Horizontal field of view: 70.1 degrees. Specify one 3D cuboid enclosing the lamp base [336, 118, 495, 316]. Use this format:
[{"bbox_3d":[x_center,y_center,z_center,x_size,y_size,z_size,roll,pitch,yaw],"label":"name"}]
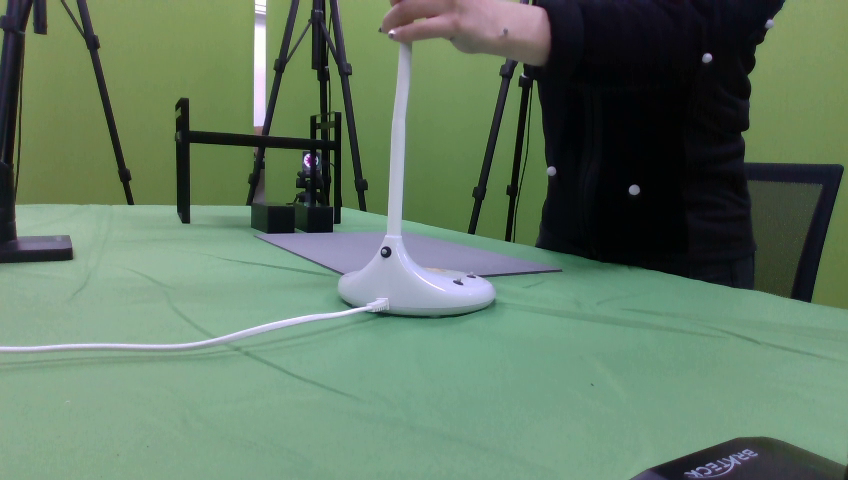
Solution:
[{"bbox_3d":[-0.010,-0.025,0.589,0.160,0.180,0.179,4,10,14],"label":"lamp base"}]
